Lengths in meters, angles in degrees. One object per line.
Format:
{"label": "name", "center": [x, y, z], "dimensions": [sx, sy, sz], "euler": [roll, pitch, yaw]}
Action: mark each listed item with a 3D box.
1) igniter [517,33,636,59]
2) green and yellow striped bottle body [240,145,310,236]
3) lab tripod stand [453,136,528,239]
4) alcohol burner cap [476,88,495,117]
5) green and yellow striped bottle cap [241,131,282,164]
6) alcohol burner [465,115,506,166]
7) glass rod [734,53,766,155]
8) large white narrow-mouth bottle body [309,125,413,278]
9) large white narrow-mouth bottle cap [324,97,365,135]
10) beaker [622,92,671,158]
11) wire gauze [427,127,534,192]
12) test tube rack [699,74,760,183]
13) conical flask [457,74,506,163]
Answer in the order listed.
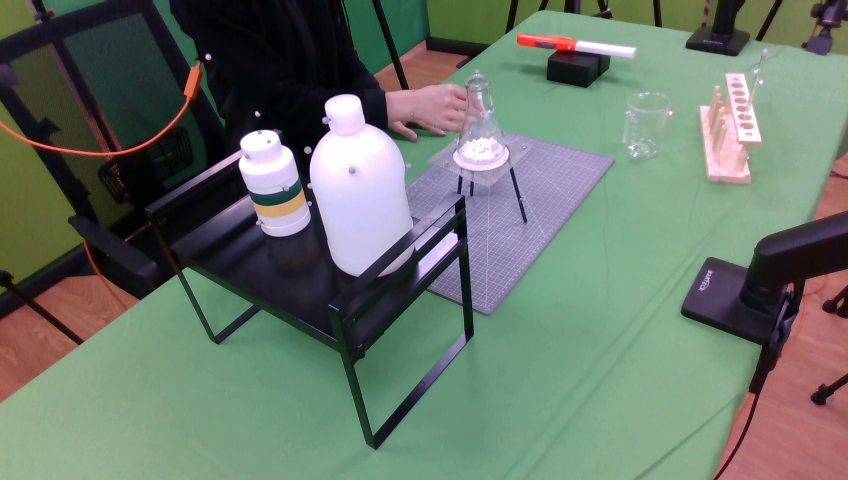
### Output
{"label": "igniter", "center": [0.336, -0.441, 1.369], "dimensions": [0.275, 0.025, 0.057], "euler": [16, 41, 23]}
{"label": "green and yellow striped bottle body", "center": [-0.181, -0.068, 0.729], "dimensions": [0.063, 0.120, 0.063], "euler": [-4, 40, 4]}
{"label": "lab tripod stand", "center": [0.094, -0.086, 0.974], "dimensions": [0.148, 0.132, 0.147], "euler": [-4, 43, 4]}
{"label": "alcohol burner cap", "center": [0.107, -0.246, 1.070], "dimensions": [0.034, 0.048, 0.033], "euler": [-6, 46, 7]}
{"label": "green and yellow striped bottle cap", "center": [-0.187, -0.107, 0.695], "dimensions": [0.045, 0.020, 0.045], "euler": [-3, 39, 3]}
{"label": "alcohol burner", "center": [0.113, -0.199, 1.119], "dimensions": [0.078, 0.119, 0.077], "euler": [-4, 43, 4]}
{"label": "glass rod", "center": [0.540, -0.219, 1.006], "dimensions": [0.008, 0.201, 0.008], "euler": [-5, 45, 6]}
{"label": "large white narrow-mouth bottle body", "center": [-0.068, -0.057, 0.644], "dimensions": [0.102, 0.195, 0.101], "euler": [-3, 42, 4]}
{"label": "large white narrow-mouth bottle cap", "center": [-0.076, -0.120, 0.585], "dimensions": [0.038, 0.024, 0.037], "euler": [-3, 42, 3]}
{"label": "beaker", "center": [0.402, -0.210, 1.106], "dimensions": [0.074, 0.101, 0.083], "euler": [-9, 40, -2]}
{"label": "wire gauze", "center": [0.086, -0.130, 0.925], "dimensions": [0.124, 0.011, 0.122], "euler": [28, 54, 31]}
{"label": "test tube rack", "center": [0.547, -0.208, 1.095], "dimensions": [0.066, 0.085, 0.242], "euler": [6, 42, 16]}
{"label": "conical flask", "center": [0.082, -0.181, 0.893], "dimensions": [0.075, 0.122, 0.075], "euler": [-4, 41, 4]}
